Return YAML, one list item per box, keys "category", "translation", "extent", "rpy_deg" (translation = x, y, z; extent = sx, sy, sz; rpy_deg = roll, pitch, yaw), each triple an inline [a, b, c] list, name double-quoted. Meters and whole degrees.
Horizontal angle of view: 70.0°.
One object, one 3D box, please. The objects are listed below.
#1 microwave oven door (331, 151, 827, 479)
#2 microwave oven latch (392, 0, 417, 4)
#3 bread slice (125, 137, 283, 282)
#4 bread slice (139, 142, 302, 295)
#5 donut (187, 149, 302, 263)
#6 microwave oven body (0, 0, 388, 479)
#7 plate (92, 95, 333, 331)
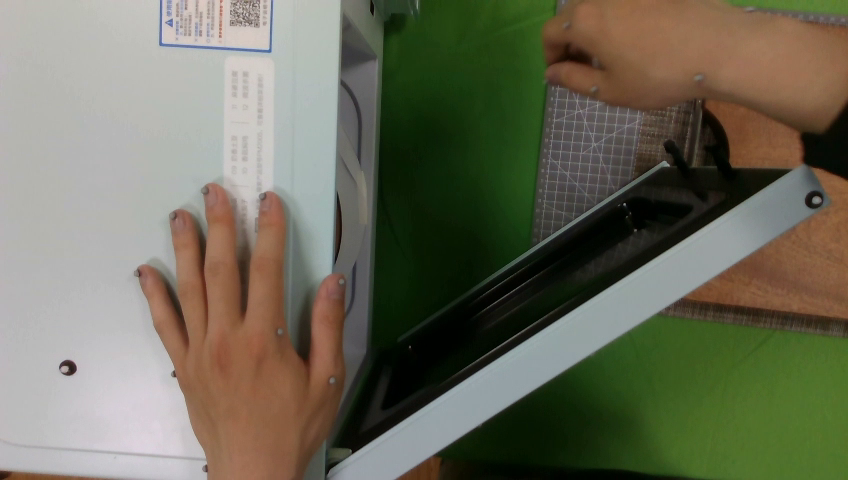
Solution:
- category: "microwave oven door"
  translation: [0.092, 0.044, 0.489]
  extent: [0.356, 0.243, 0.039]
  rpy_deg: [-35, 95, 7]
- category: "microwave oven latch"
  translation: [-0.018, -0.258, 0.548]
  extent: [0.030, 0.029, 0.079]
  rpy_deg: [3, 100, 2]
- category: "bread slice"
  translation: [-0.176, -0.026, 0.483]
  extent: [0.134, 0.018, 0.107]
  rpy_deg: [7, 101, 12]
- category: "bread slice"
  translation: [-0.191, -0.023, 0.545]
  extent: [0.131, 0.019, 0.105]
  rpy_deg: [29, 99, -2]
- category: "donut"
  translation: [-0.154, -0.029, 0.521]
  extent: [0.099, 0.048, 0.099]
  rpy_deg: [0, 95, 0]
- category: "microwave oven body"
  translation: [-0.181, -0.078, 0.486]
  extent: [0.326, 0.259, 0.442]
  rpy_deg: [3, 99, 2]
- category: "plate"
  translation: [-0.184, -0.022, 0.544]
  extent: [0.208, 0.039, 0.208]
  rpy_deg: [0, 100, -2]
